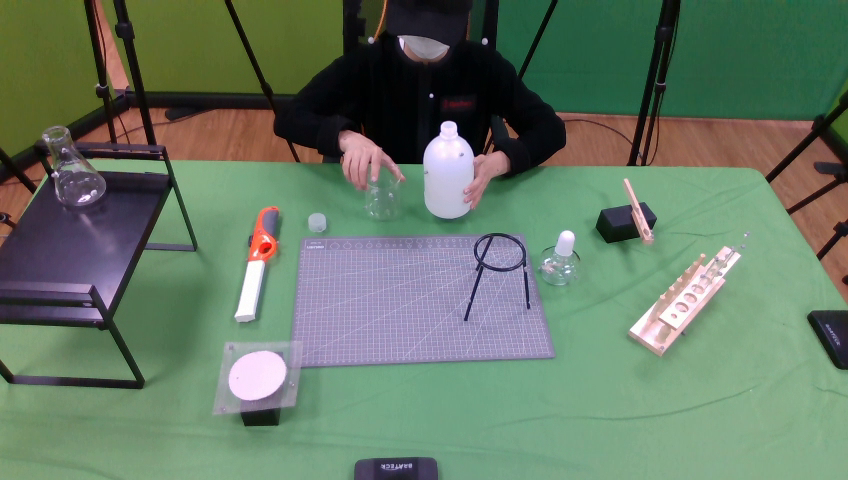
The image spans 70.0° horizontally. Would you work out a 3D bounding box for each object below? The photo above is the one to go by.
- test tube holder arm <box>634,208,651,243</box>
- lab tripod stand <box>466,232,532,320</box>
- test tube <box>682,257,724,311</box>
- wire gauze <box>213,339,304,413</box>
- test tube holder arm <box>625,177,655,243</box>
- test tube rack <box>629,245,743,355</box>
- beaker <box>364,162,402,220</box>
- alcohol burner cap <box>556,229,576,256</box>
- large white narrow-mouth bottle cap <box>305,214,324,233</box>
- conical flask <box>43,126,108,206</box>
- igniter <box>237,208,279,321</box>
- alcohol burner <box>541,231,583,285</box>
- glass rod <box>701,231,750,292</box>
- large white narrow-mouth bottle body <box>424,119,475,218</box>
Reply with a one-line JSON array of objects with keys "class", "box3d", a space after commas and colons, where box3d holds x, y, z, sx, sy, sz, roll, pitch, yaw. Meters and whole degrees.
[{"class": "test tube holder arm", "box3d": [0.428, -0.030, 1.189, 0.010, 0.015, 0.087, 1, 47, -2]}, {"class": "lab tripod stand", "box3d": [0.125, 0.059, 1.065, 0.148, 0.132, 0.147, 1, 45, 0]}, {"class": "test tube", "box3d": [0.475, 0.080, 1.037, 0.017, 0.151, 0.017, 2, 51, -2]}, {"class": "wire gauze", "box3d": [-0.250, 0.203, 0.924, 0.121, 0.011, 0.124, -1, 46, -3]}, {"class": "test tube holder arm", "box3d": [0.433, -0.063, 1.220, 0.013, 0.015, 0.177, 1, 47, -3]}, {"class": "test tube rack", "box3d": [0.474, 0.095, 1.091, 0.242, 0.085, 0.066, -34, 56, -31]}, {"class": "beaker", "box3d": [-0.079, -0.096, 1.216, 0.073, 0.101, 0.084, 37, 59, 24]}, {"class": "alcohol burner cap", "box3d": [0.260, 0.002, 1.098, 0.034, 0.048, 0.033, 3, 40, -2]}, {"class": "large white narrow-mouth bottle cap", "box3d": [-0.219, -0.033, 1.214, 0.038, 0.024, 0.037, 2, 46, -2]}, {"class": "conical flask", "box3d": [-0.555, -0.119, 0.953, 0.075, 0.122, 0.075, 2, 46, -2]}, {"class": "igniter", "box3d": [-0.309, 0.036, 1.136, 0.057, 0.025, 0.274, -7, 45, 4]}, {"class": "alcohol burner", "box3d": [0.258, 0.028, 1.123, 0.078, 0.120, 0.077, 1, 48, -1]}, {"class": "glass rod", "box3d": [0.519, 0.045, 1.050, 0.008, 0.201, 0.008, 0, 55, 0]}, {"class": "large white narrow-mouth bottle body", "box3d": [0.051, -0.145, 1.191, 0.102, 0.195, 0.101, -1, 41, 1]}]
